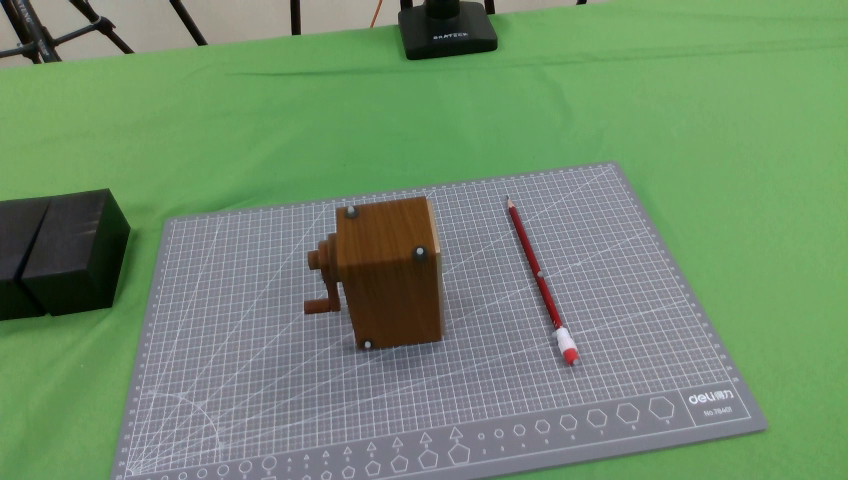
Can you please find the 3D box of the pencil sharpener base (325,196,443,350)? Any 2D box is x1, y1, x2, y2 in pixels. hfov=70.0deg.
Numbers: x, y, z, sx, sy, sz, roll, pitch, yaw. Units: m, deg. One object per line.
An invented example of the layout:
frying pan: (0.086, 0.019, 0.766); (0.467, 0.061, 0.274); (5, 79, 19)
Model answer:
pencil sharpener base: (-0.028, 0.028, 0.454); (0.077, 0.108, 0.060); (-7, 47, -3)

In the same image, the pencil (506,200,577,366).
pencil: (0.095, 0.027, 0.518); (0.012, 0.012, 0.192); (-8, 44, -5)

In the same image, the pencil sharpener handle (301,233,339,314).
pencil sharpener handle: (-0.079, 0.028, 0.440); (0.031, 0.068, 0.035); (-7, 36, -3)
